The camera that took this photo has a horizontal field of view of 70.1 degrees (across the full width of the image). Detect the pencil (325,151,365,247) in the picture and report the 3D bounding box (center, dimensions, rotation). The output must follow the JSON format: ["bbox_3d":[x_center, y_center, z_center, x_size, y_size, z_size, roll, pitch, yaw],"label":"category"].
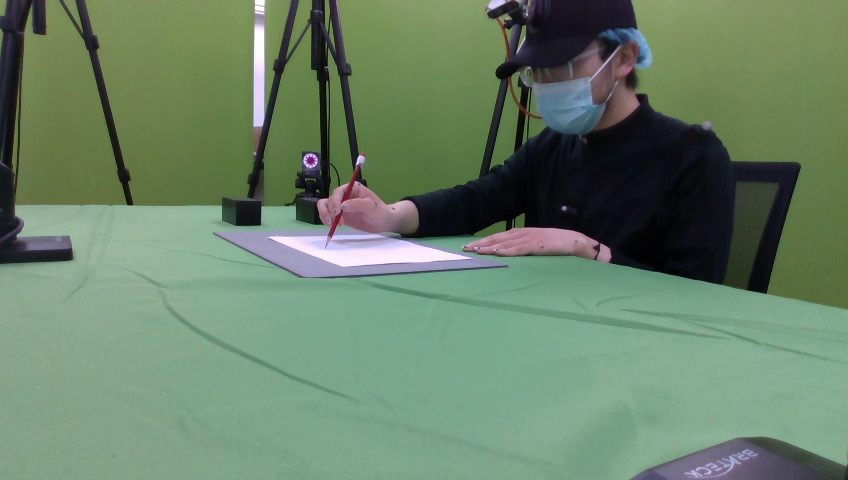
[{"bbox_3d":[-0.126,-0.069,0.970,0.012,0.194,0.012,12,-32,8],"label":"pencil"}]
